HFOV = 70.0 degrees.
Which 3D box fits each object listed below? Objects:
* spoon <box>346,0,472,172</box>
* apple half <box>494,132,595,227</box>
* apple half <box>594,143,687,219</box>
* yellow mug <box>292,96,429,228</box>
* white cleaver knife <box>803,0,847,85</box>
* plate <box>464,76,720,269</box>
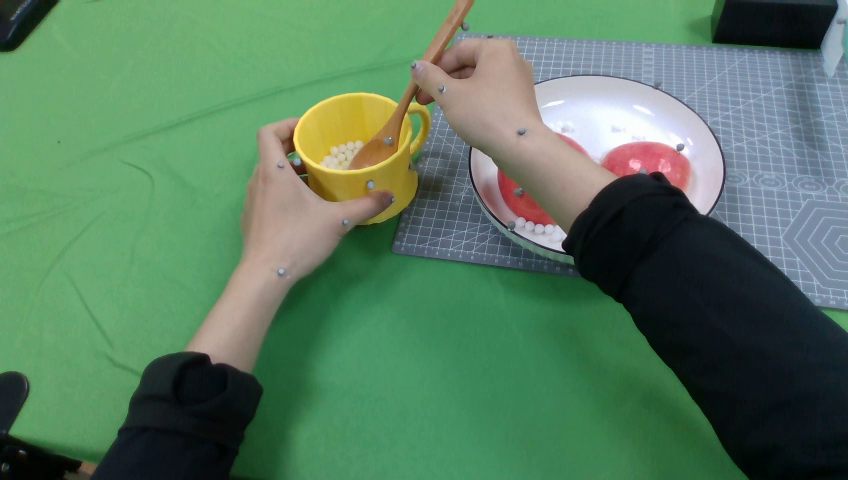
[{"bbox_3d":[-0.013,-0.114,0.493,0.041,0.194,0.022,41,26,20],"label":"spoon"},{"bbox_3d":[0.100,-0.059,0.504,0.081,0.054,0.074,-29,54,-13],"label":"apple half"},{"bbox_3d":[0.182,-0.058,0.505,0.081,0.033,0.080,-3,57,5],"label":"apple half"},{"bbox_3d":[-0.047,-0.077,0.533,0.131,0.064,0.099,-34,58,-23],"label":"yellow mug"},{"bbox_3d":[0.388,-0.194,0.569,0.021,0.066,0.284,4,51,16],"label":"white cleaver knife"},{"bbox_3d":[0.138,-0.059,0.520,0.209,0.038,0.207,-3,55,5],"label":"plate"}]
